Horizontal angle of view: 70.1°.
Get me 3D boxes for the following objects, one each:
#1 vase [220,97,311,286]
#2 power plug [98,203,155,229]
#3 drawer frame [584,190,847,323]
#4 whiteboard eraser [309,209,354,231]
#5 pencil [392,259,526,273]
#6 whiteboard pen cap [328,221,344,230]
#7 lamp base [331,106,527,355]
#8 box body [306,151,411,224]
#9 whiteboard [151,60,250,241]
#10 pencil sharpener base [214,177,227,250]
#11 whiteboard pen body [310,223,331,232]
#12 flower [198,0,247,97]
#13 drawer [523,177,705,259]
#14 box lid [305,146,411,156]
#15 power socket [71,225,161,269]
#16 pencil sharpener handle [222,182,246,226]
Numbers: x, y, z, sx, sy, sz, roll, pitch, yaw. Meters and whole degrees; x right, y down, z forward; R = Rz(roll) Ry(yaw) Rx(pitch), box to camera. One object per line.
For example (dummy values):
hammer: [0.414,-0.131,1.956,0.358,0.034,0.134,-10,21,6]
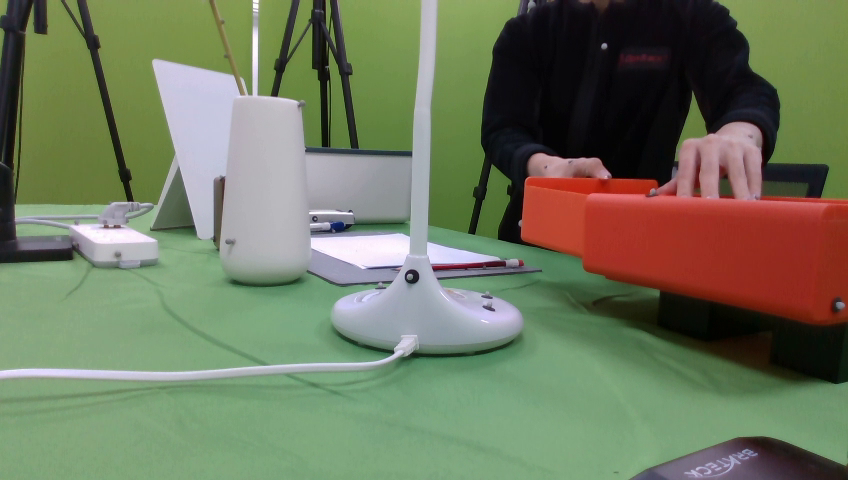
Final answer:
vase: [-0.172,-0.052,0.662,0.098,0.200,0.098,3,8,0]
power plug: [-0.416,-0.026,0.848,0.073,0.052,0.035,1,7,-28]
drawer frame: [0.282,0.002,0.509,0.203,0.082,0.212,-1,7,-28]
whiteboard eraser: [-0.196,-0.038,1.167,0.113,0.042,0.055,-2,7,-33]
pencil: [0.049,0.035,0.782,0.195,0.012,0.012,-3,9,-25]
whiteboard pen cap: [-0.166,-0.027,1.124,0.018,0.018,0.033,9,11,41]
lamp base: [0.006,-0.012,0.478,0.161,0.180,0.179,2,10,2]
box body: [-0.230,-0.126,1.371,0.366,0.160,0.253,-2,8,-33]
whiteboard: [-0.408,-0.139,1.093,0.143,0.305,0.218,-15,0,26]
pencil sharpener base: [-0.265,-0.036,0.870,0.061,0.107,0.076,-2,8,-29]
whiteboard pen body: [-0.207,-0.021,1.081,0.017,0.017,0.141,9,10,41]
flower: [-0.187,-0.133,0.648,0.038,0.362,0.044,-1,22,43]
drawer: [0.237,-0.015,0.594,0.195,0.073,0.210,-1,11,-28]
box lid: [-0.229,-0.200,1.361,0.373,0.015,0.262,-3,9,-32]
power socket: [-0.408,0.004,0.793,0.072,0.032,0.225,-2,8,-38]
pencil sharpener handle: [-0.289,-0.055,0.912,0.036,0.067,0.030,-3,9,-29]
